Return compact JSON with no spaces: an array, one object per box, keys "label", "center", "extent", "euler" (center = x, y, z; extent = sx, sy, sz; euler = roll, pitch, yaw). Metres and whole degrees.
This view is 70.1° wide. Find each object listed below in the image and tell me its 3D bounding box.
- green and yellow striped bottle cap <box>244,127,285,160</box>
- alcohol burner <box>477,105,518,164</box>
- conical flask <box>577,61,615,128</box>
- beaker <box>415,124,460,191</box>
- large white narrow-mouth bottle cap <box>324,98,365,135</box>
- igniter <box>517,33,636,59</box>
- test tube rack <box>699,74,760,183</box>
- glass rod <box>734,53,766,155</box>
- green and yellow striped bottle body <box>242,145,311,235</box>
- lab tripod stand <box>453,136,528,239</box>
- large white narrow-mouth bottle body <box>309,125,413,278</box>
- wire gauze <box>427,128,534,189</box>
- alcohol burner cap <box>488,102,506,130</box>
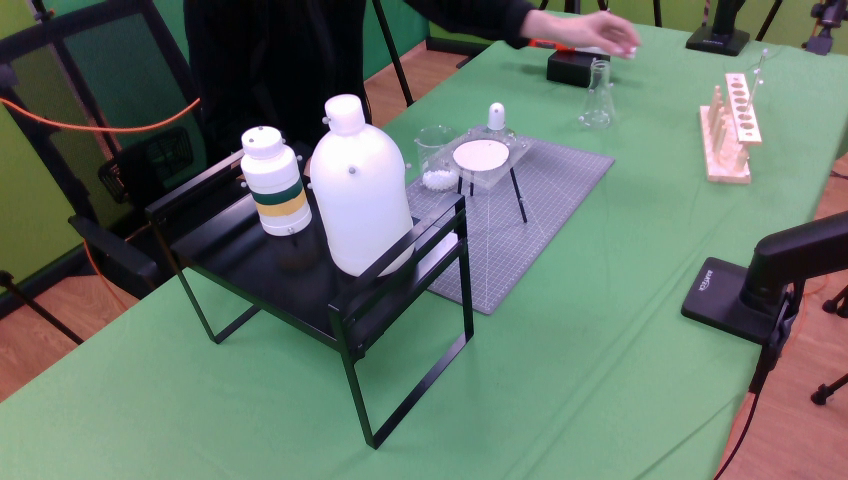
[{"label":"green and yellow striped bottle cap","center":[-0.183,-0.111,0.694],"extent":[0.045,0.020,0.045],"euler":[-1,42,1]},{"label":"alcohol burner","center":[0.134,-0.199,1.117],"extent":[0.078,0.119,0.077],"euler":[-5,44,5]},{"label":"conical flask","center":[0.343,-0.288,1.188],"extent":[0.075,0.122,0.075],"euler":[-4,41,4]},{"label":"beaker","center":[0.027,-0.147,1.081],"extent":[0.073,0.101,0.084],"euler":[12,44,21]},{"label":"large white narrow-mouth bottle cap","center":[-0.076,-0.120,0.585],"extent":[0.038,0.024,0.037],"euler":[-3,42,3]},{"label":"igniter","center":[0.336,-0.441,1.369],"extent":[0.275,0.025,0.057],"euler":[16,41,23]},{"label":"test tube rack","center":[0.547,-0.208,1.095],"extent":[0.066,0.085,0.242],"euler":[6,42,16]},{"label":"glass rod","center":[0.540,-0.220,1.006],"extent":[0.008,0.201,0.008],"euler":[-5,45,6]},{"label":"green and yellow striped bottle body","center":[-0.179,-0.069,0.730],"extent":[0.063,0.120,0.063],"euler":[-4,41,4]},{"label":"lab tripod stand","center":[0.094,-0.086,0.974],"extent":[0.148,0.132,0.147],"euler":[-4,42,4]},{"label":"large white narrow-mouth bottle body","center":[-0.068,-0.057,0.644],"extent":[0.102,0.195,0.101],"euler":[-3,42,4]},{"label":"wire gauze","center":[0.086,-0.131,0.924],"extent":[0.124,0.011,0.122],"euler":[26,52,33]},{"label":"alcohol burner cap","center":[0.133,-0.227,1.092],"extent":[0.034,0.048,0.033],"euler":[-1,47,2]}]
